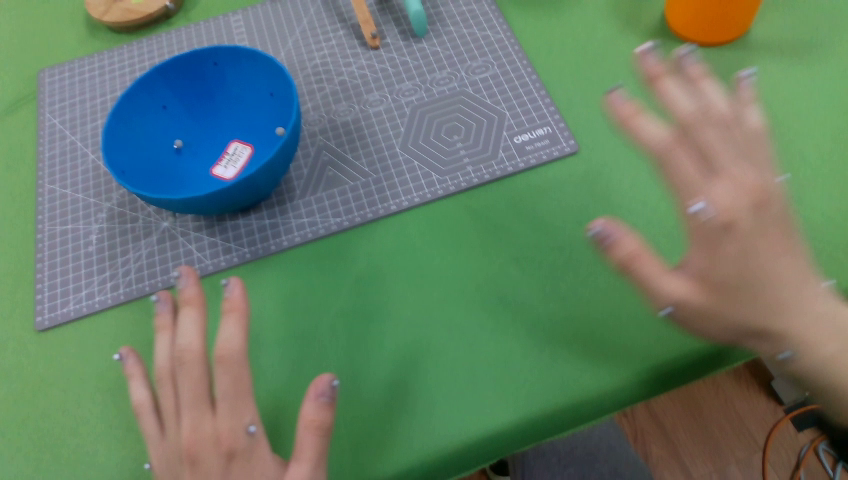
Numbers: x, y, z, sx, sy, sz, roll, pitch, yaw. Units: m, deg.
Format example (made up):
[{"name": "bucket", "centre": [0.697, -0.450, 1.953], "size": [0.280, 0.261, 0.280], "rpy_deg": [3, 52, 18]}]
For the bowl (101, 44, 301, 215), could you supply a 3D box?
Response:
[{"name": "bowl", "centre": [-0.163, -0.074, 0.484], "size": [0.151, 0.077, 0.150], "rpy_deg": [-3, 60, 6]}]

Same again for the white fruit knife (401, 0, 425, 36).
[{"name": "white fruit knife", "centre": [-0.038, -0.291, 0.592], "size": [0.016, 0.027, 0.206], "rpy_deg": [-19, 74, -5]}]

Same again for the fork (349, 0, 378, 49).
[{"name": "fork", "centre": [-0.086, -0.277, 0.588], "size": [0.028, 0.019, 0.206], "rpy_deg": [-21, 79, -10]}]

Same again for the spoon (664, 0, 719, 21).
[{"name": "spoon", "centre": [0.284, -0.250, 0.492], "size": [0.022, 0.194, 0.041], "rpy_deg": [13, 52, -38]}]

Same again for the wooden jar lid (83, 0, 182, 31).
[{"name": "wooden jar lid", "centre": [-0.305, -0.262, 0.644], "size": [0.108, 0.021, 0.107], "rpy_deg": [-2, 61, 4]}]
